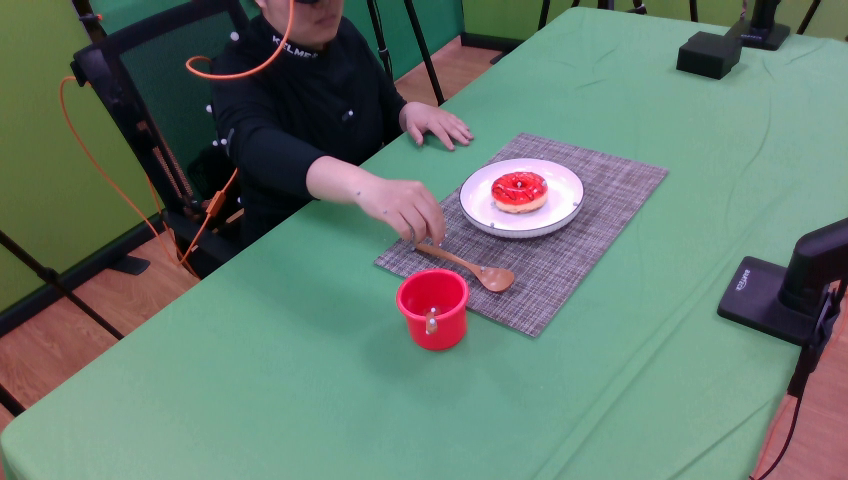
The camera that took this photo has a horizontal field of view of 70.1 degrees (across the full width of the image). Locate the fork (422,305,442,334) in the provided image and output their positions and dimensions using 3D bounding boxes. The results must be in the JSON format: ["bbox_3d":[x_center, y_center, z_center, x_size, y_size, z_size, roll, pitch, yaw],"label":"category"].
[{"bbox_3d":[0.010,0.099,0.766,0.028,0.018,0.207,-10,-3,1],"label":"fork"}]

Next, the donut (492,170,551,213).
[{"bbox_3d":[0.163,-0.083,1.016,0.099,0.048,0.098,-6,37,5],"label":"donut"}]

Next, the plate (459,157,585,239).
[{"bbox_3d":[0.163,-0.068,1.015,0.209,0.038,0.208,-5,40,5],"label":"plate"}]

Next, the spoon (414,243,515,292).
[{"bbox_3d":[0.057,0.035,0.924,0.192,0.022,0.041,24,67,34],"label":"spoon"}]
